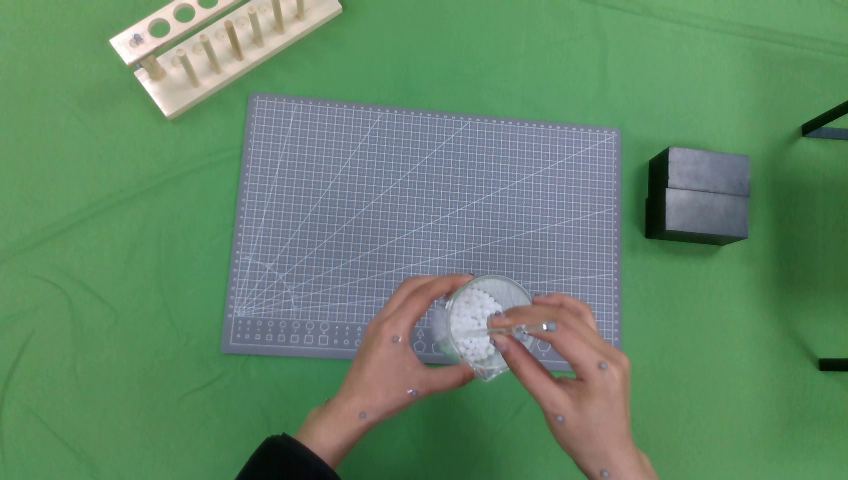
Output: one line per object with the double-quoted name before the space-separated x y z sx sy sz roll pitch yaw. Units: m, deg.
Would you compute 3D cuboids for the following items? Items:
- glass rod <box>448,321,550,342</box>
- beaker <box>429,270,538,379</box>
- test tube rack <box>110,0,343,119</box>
"glass rod" 0.048 0.071 0.452 0.008 0.200 0.008 3 78 -14
"beaker" 0.044 0.073 0.511 0.074 0.100 0.083 8 80 -7
"test tube rack" -0.209 -0.242 0.676 0.242 0.085 0.066 -37 85 -11
